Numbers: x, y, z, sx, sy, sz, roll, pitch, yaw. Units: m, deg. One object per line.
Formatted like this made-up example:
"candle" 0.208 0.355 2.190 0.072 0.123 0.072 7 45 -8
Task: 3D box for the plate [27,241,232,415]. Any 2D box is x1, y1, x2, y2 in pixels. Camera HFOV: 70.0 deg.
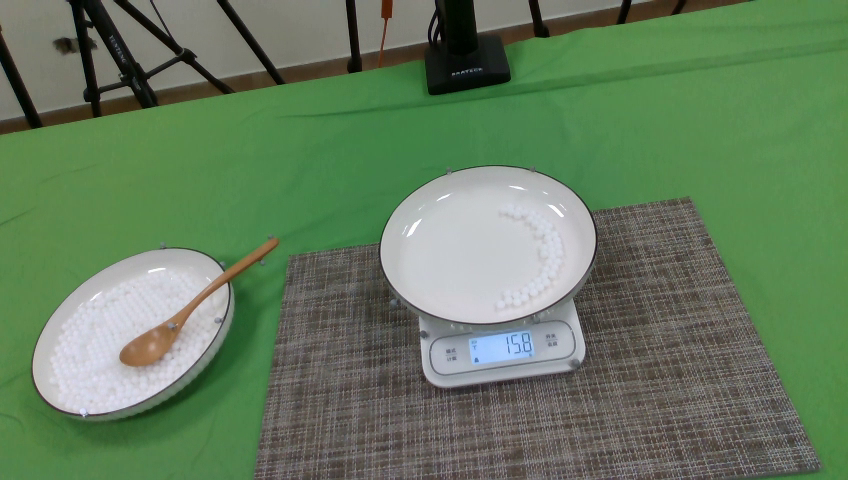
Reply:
"plate" -0.299 0.089 0.632 0.209 0.038 0.207 -6 48 6

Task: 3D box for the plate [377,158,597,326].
"plate" 0.060 0.001 0.588 0.207 0.039 0.205 -6 48 7

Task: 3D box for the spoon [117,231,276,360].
"spoon" -0.230 0.053 0.627 0.193 0.022 0.041 -44 55 -16

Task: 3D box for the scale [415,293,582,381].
"scale" 0.063 0.038 0.598 0.148 0.032 0.199 -9 48 5
